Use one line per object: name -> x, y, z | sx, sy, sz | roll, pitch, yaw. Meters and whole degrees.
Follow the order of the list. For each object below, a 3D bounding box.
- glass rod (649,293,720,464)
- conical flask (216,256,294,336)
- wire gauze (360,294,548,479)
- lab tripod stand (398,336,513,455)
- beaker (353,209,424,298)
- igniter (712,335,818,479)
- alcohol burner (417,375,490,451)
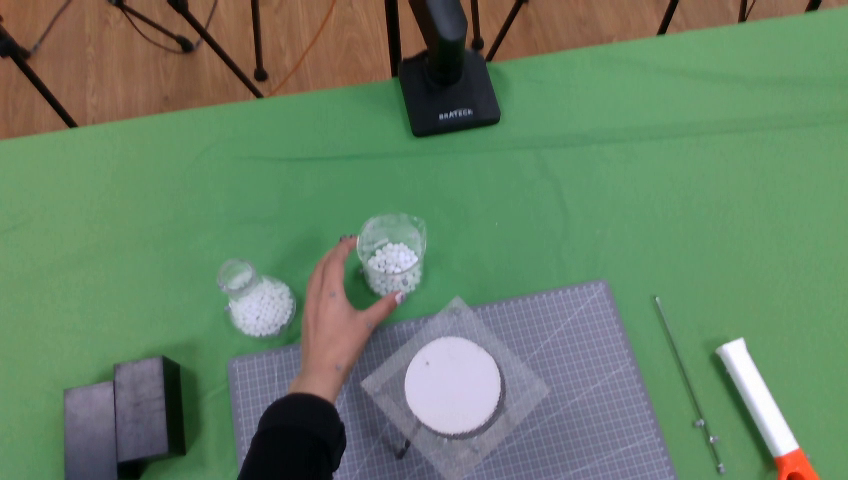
glass rod -> 0.294, 0.152, 0.688 | 0.008, 0.008, 0.198 | -12, 69, -7
conical flask -> -0.187, 0.055, 0.650 | 0.075, 0.122, 0.075 | 1, 68, -1
wire gauze -> 0.027, 0.129, 0.545 | 0.125, 0.011, 0.121 | -40, 76, -14
lab tripod stand -> 0.026, 0.159, 0.607 | 0.148, 0.132, 0.147 | 1, 70, -1
beaker -> -0.036, 0.018, 0.682 | 0.084, 0.101, 0.073 | -37, 74, -15
igniter -> 0.388, 0.235, 0.647 | 0.057, 0.025, 0.274 | -13, 69, -18
alcohol burner -> 0.030, 0.172, 0.612 | 0.078, 0.120, 0.077 | 1, 66, -2
